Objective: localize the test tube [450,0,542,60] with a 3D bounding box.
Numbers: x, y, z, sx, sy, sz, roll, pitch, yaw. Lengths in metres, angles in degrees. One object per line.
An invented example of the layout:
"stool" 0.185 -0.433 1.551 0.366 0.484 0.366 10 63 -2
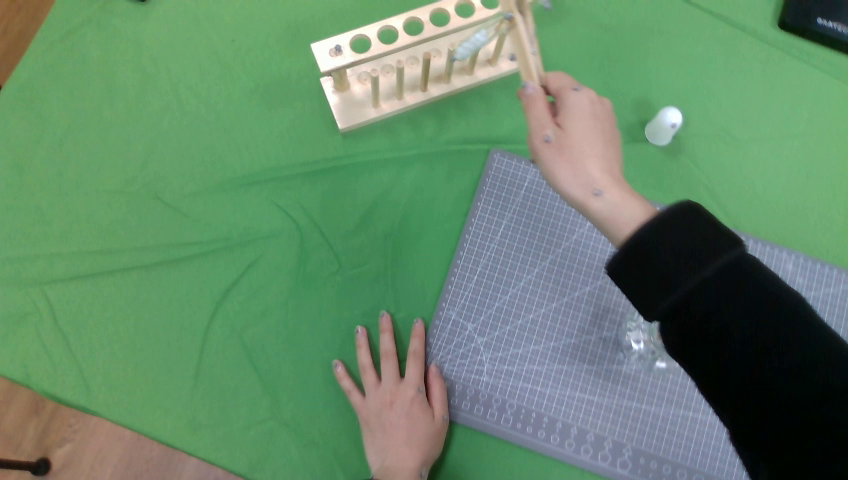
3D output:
"test tube" 0.069 -0.186 0.498 0.017 0.150 0.017 9 73 -32

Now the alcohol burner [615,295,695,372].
"alcohol burner" 0.236 0.091 0.602 0.078 0.119 0.077 1 76 -2

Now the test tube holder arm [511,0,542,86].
"test tube holder arm" 0.081 -0.166 0.493 0.010 0.015 0.087 -3 79 -35

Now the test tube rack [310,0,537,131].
"test tube rack" 0.006 -0.204 0.666 0.242 0.085 0.066 -20 79 -7

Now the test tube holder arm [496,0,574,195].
"test tube holder arm" 0.087 -0.122 0.485 0.013 0.015 0.178 -13 85 -36

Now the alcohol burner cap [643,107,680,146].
"alcohol burner cap" 0.272 -0.131 0.687 0.034 0.048 0.033 0 72 -1
